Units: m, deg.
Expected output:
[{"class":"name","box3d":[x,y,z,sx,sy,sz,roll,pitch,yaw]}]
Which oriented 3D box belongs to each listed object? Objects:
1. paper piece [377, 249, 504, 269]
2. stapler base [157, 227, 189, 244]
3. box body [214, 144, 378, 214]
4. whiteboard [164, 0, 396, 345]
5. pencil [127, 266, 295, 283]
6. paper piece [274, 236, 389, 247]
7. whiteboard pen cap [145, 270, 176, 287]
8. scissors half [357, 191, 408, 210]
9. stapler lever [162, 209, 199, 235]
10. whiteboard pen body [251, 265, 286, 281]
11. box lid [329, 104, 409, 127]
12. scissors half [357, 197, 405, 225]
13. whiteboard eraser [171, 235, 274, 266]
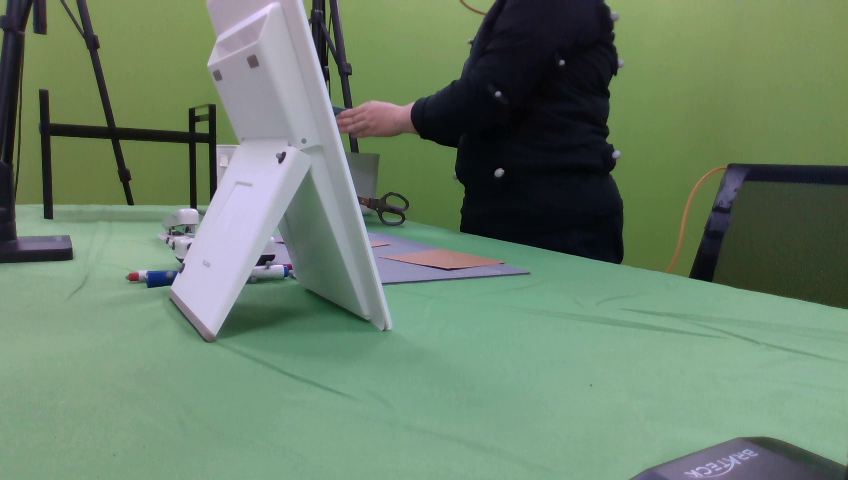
[{"class":"paper piece","box3d":[0.026,0.026,0.865,0.134,0.004,0.136,9,9,43]},{"class":"stapler base","box3d":[-0.376,-0.008,0.935,0.041,0.024,0.130,0,5,-38]},{"class":"box body","box3d":[-0.328,-0.154,1.543,0.366,0.160,0.253,-2,9,-32]},{"class":"whiteboard","box3d":[-0.173,-0.053,0.511,0.144,0.305,0.216,-23,19,-26]},{"class":"pencil","box3d":[-0.231,0.037,0.690,0.195,0.012,0.012,-2,9,-34]},{"class":"paper piece","box3d":[-0.151,0.003,0.978,0.135,0.008,0.139,13,10,35]},{"class":"whiteboard pen cap","box3d":[-0.271,0.039,0.627,0.033,0.018,0.018,-3,9,-33]},{"class":"scissors half","box3d":[-0.122,-0.091,1.318,0.175,0.040,0.013,4,9,-3]},{"class":"stapler lever","box3d":[-0.376,-0.031,0.933,0.027,0.040,0.117,0,7,-38]},{"class":"whiteboard pen body","box3d":[-0.220,0.039,0.656,0.141,0.017,0.017,-2,9,-30]},{"class":"box lid","box3d":[-0.240,-0.312,1.442,0.373,0.015,0.262,8,7,-20]},{"class":"scissors half","box3d":[-0.127,-0.071,1.321,0.175,0.040,0.013,21,2,-4]},{"class":"whiteboard eraser","box3d":[-0.248,0.014,0.747,0.113,0.042,0.055,-1,9,-32]}]
